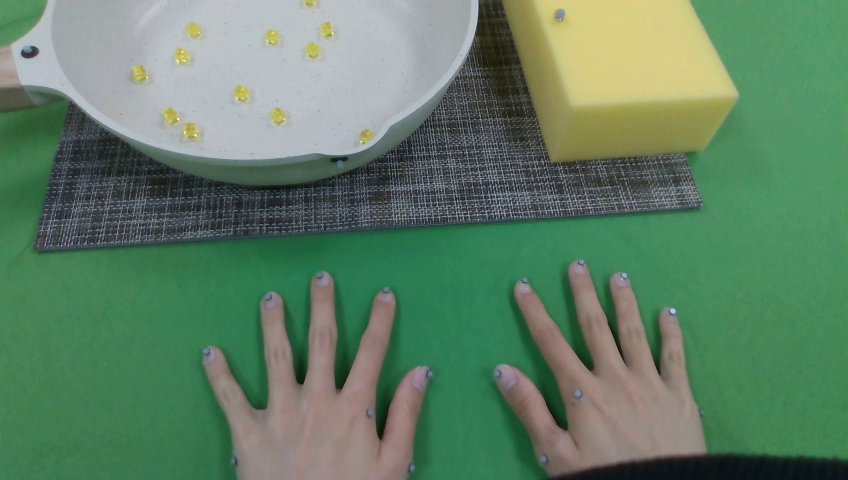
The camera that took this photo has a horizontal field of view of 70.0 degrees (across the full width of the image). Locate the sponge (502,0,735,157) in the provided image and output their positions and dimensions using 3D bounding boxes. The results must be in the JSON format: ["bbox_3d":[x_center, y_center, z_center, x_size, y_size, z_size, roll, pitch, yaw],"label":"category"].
[{"bbox_3d":[0.135,-0.166,0.469,0.118,0.061,0.205,-6,60,-7],"label":"sponge"}]

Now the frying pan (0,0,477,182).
[{"bbox_3d":[-0.201,-0.128,0.404,0.489,0.103,0.304,-18,61,-22],"label":"frying pan"}]
